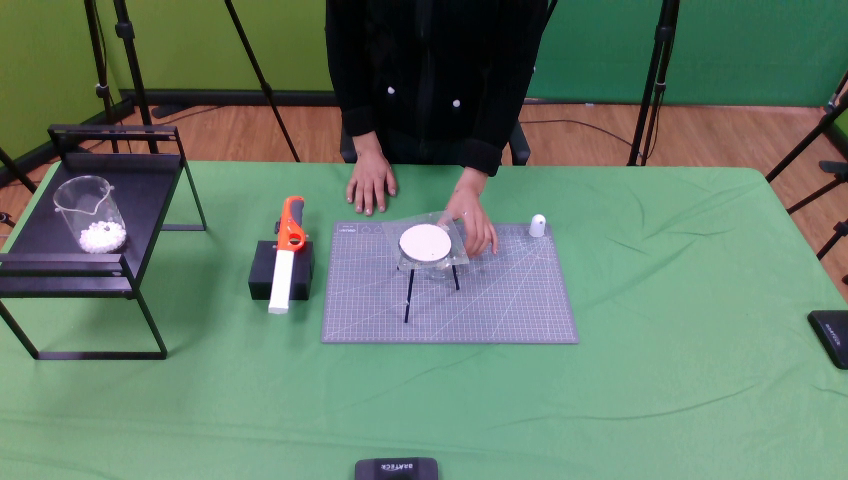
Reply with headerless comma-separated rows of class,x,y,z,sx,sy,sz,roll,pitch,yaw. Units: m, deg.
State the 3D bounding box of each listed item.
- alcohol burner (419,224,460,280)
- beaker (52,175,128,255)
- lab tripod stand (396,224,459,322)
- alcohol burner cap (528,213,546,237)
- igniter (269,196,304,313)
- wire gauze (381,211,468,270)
alcohol burner,0.029,0.017,1.117,0.078,0.119,0.077,2,44,-2
beaker,-0.482,-0.032,0.888,0.074,0.101,0.083,-28,55,-27
lab tripod stand,-0.003,0.053,1.067,0.148,0.132,0.147,3,47,-3
alcohol burner cap,0.231,-0.033,1.230,0.034,0.048,0.033,3,48,-3
igniter,-0.249,0.016,1.095,0.057,0.025,0.274,8,46,-13
wire gauze,0.000,0.001,1.023,0.125,0.011,0.120,-9,48,-13
